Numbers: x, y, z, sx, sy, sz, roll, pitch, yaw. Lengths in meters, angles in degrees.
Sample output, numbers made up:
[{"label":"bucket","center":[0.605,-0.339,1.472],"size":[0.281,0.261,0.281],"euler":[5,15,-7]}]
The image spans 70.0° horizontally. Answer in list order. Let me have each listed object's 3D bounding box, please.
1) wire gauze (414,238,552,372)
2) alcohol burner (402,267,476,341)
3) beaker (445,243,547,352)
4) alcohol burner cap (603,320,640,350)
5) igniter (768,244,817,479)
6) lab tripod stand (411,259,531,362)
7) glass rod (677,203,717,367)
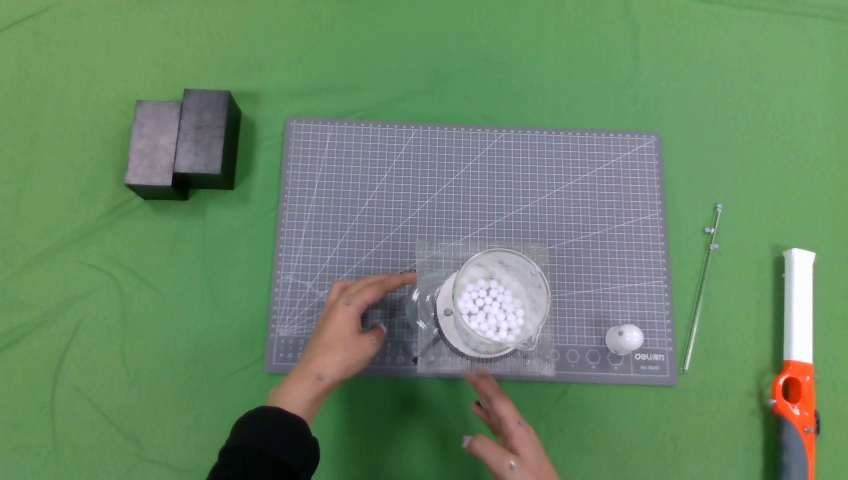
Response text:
[{"label":"wire gauze","center":[0.052,0.057,0.545],"size":[0.125,0.011,0.121],"euler":[1,74,0]},{"label":"alcohol burner","center":[0.017,0.062,0.620],"size":[0.078,0.119,0.077],"euler":[1,74,-2]},{"label":"beaker","center":[0.056,0.055,0.496],"size":[0.074,0.100,0.083],"euler":[-30,77,-9]},{"label":"alcohol burner cap","center":[0.216,0.102,0.655],"size":[0.034,0.048,0.033],"euler":[0,77,1]},{"label":"igniter","center":[0.404,0.139,0.664],"size":[0.057,0.025,0.275],"euler":[12,76,-10]},{"label":"lab tripod stand","center":[0.049,0.076,0.608],"size":[0.148,0.132,0.147],"euler":[0,75,0]},{"label":"glass rod","center":[0.313,0.048,0.693],"size":[0.008,0.008,0.199],"euler":[18,77,2]}]
